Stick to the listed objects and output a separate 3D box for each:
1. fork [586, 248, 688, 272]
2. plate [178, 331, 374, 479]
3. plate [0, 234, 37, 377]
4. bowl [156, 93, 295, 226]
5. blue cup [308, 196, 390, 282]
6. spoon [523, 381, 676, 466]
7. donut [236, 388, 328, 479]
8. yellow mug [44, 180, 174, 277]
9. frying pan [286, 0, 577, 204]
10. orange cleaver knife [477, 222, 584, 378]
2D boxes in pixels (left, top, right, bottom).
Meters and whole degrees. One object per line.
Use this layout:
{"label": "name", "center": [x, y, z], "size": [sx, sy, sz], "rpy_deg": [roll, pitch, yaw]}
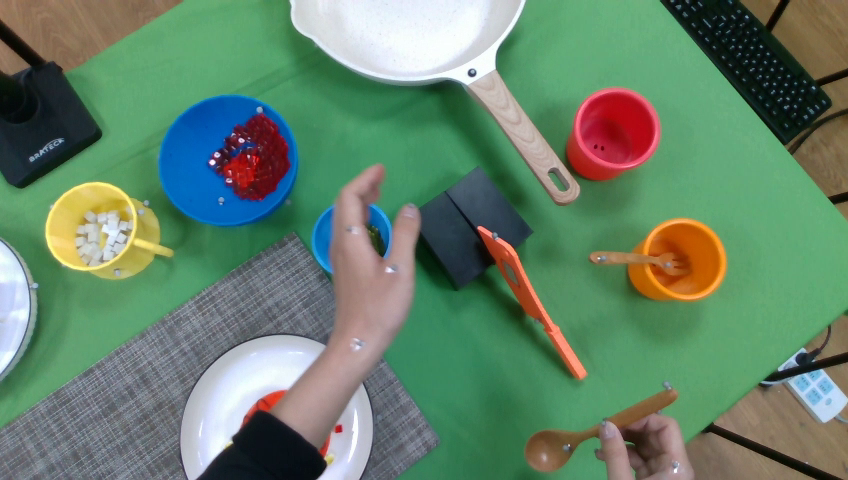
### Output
{"label": "fork", "center": [0.235, 0.019, 0.656], "size": [0.209, 0.018, 0.028], "rpy_deg": [5, 75, -45]}
{"label": "plate", "center": [-0.159, 0.204, 0.664], "size": [0.209, 0.038, 0.208], "rpy_deg": [0, 80, -2]}
{"label": "plate", "center": [-0.538, 0.080, 0.681], "size": [0.208, 0.039, 0.207], "rpy_deg": [0, 80, -1]}
{"label": "bowl", "center": [-0.218, -0.083, 0.699], "size": [0.151, 0.077, 0.151], "rpy_deg": [0, 80, -1]}
{"label": "blue cup", "center": [-0.078, 0.007, 0.674], "size": [0.093, 0.100, 0.092], "rpy_deg": [0, 77, -2]}
{"label": "spoon", "center": [0.159, 0.174, 0.568], "size": [0.022, 0.194, 0.041], "rpy_deg": [-19, 71, -40]}
{"label": "donut", "center": [-0.152, 0.208, 0.652], "size": [0.099, 0.048, 0.099], "rpy_deg": [0, 83, -2]}
{"label": "yellow mug", "center": [-0.348, -0.006, 0.688], "size": [0.131, 0.064, 0.099], "rpy_deg": [17, 80, 1]}
{"label": "frying pan", "center": [0.028, -0.238, 0.720], "size": [0.307, 0.103, 0.484], "rpy_deg": [-30, 74, -6]}
{"label": "orange cleaver knife", "center": [0.119, 0.068, 0.678], "size": [0.012, 0.076, 0.213], "rpy_deg": [-36, 111, -7]}
